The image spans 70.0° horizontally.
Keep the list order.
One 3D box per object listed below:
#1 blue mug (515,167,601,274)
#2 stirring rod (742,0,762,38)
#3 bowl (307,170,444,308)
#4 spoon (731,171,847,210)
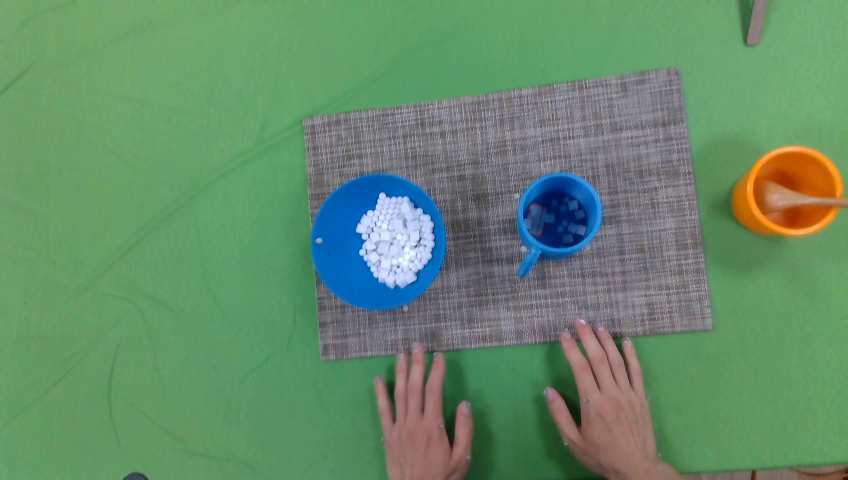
[{"bbox_3d":[0.131,-0.013,0.650,0.082,0.106,0.116,32,91,9],"label":"blue mug"},{"bbox_3d":[0.370,-0.313,0.659,0.014,0.006,0.177,2,108,3],"label":"stirring rod"},{"bbox_3d":[-0.048,0.001,0.687,0.151,0.077,0.151,-1,86,8],"label":"bowl"},{"bbox_3d":[0.396,-0.045,0.592,0.192,0.022,0.041,9,92,49],"label":"spoon"}]
